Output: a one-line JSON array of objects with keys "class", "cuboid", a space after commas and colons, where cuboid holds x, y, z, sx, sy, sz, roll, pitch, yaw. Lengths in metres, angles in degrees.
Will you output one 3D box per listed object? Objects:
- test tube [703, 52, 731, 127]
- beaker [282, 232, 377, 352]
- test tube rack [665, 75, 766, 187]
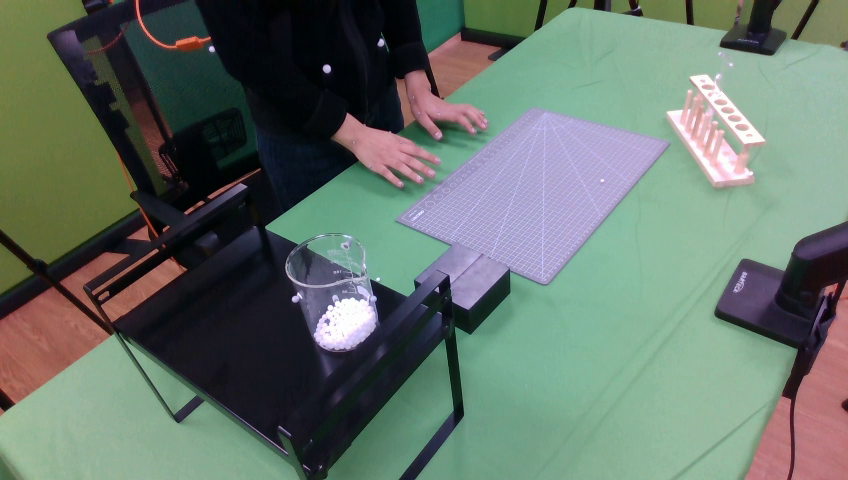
[{"class": "test tube", "cuboid": [0.521, -0.264, 1.078, 0.017, 0.151, 0.017, -4, 47, 5]}, {"class": "beaker", "cuboid": [-0.084, 0.054, 0.587, 0.083, 0.101, 0.074, 17, 47, 25]}, {"class": "test tube rack", "cuboid": [0.512, -0.201, 1.082, 0.067, 0.085, 0.241, -5, 41, 2]}]
